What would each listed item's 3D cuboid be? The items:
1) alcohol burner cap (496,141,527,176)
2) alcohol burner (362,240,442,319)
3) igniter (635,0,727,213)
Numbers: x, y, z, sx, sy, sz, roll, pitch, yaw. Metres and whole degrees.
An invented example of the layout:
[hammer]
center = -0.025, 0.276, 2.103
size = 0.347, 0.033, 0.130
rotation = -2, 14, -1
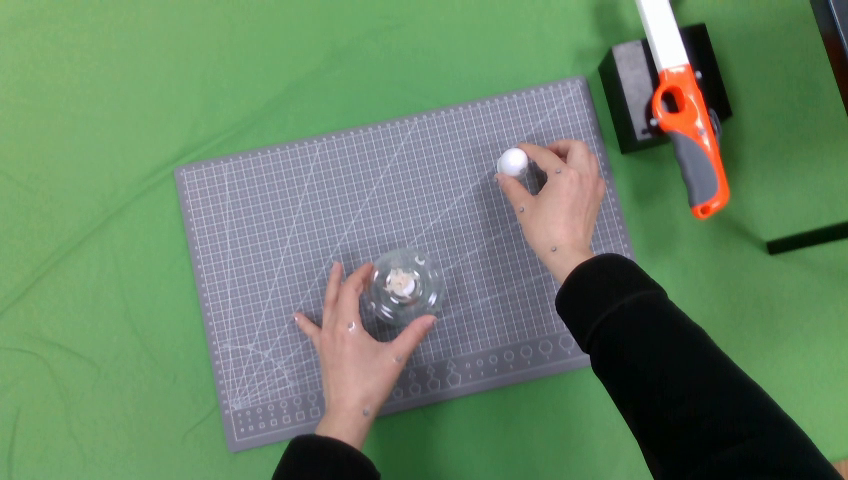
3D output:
[alcohol burner cap]
center = 0.090, -0.085, 0.611
size = 0.034, 0.048, 0.034
rotation = 0, 89, 4
[alcohol burner]
center = -0.021, 0.037, 0.573
size = 0.078, 0.119, 0.077
rotation = 0, 85, 0
[igniter]
center = 0.246, -0.162, 0.596
size = 0.057, 0.025, 0.275
rotation = -12, 82, 0
